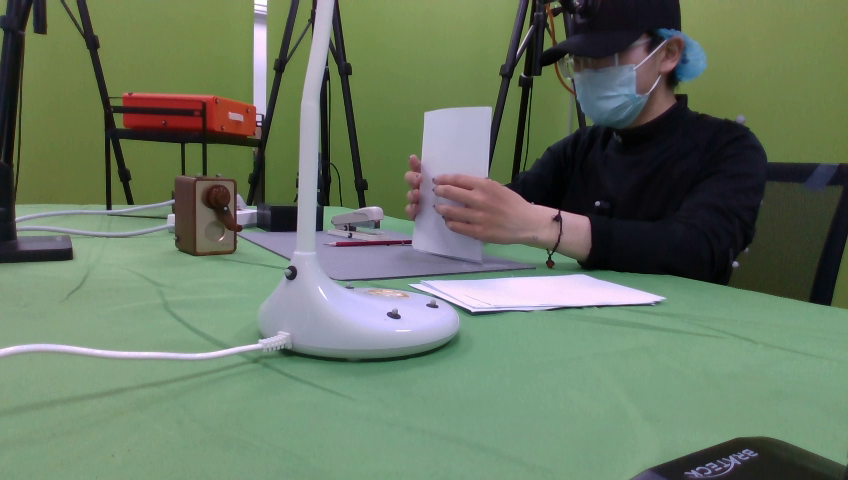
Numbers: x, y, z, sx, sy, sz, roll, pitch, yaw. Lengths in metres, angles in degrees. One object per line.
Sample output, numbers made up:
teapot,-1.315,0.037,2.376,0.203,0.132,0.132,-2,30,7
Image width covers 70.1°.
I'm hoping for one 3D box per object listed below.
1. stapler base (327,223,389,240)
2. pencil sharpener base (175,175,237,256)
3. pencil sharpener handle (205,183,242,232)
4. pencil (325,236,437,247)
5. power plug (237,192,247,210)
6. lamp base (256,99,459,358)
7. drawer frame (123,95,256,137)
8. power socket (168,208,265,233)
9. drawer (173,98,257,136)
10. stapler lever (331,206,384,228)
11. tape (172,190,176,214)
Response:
stapler base,-0.117,-0.018,1.073,0.130,0.024,0.041,7,8,41
pencil sharpener base,-0.304,-0.035,0.847,0.062,0.107,0.076,-4,10,-42
pencil sharpener handle,-0.265,-0.043,0.813,0.036,0.068,0.030,-32,27,-35
pencil,-0.066,0.003,0.979,0.195,0.012,0.012,-3,9,-25
power plug,-0.386,-0.071,1.204,0.072,0.052,0.035,7,9,26
lamp base,-0.055,-0.013,0.463,0.160,0.180,0.180,6,11,27
drawer frame,-0.524,-0.280,1.376,0.213,0.082,0.202,3,8,8
power socket,-0.381,-0.038,1.129,0.072,0.032,0.227,4,8,17
drawer,-0.518,-0.279,1.376,0.211,0.073,0.195,3,8,10
stapler lever,-0.118,-0.043,1.070,0.117,0.040,0.027,7,8,41
tape,-0.515,-0.087,1.388,0.117,0.052,0.117,3,7,0
